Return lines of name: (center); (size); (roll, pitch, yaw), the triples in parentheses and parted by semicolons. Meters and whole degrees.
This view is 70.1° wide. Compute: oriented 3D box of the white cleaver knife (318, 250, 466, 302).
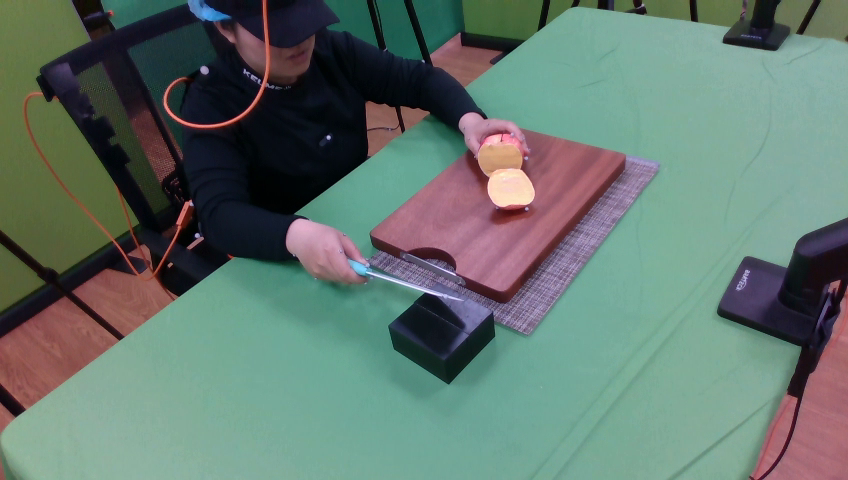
white cleaver knife: (-0.057, 0.055, 0.866); (0.284, 0.066, 0.021); (15, 85, 45)

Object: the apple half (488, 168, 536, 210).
apple half: (0.142, -0.080, 0.995); (0.081, 0.033, 0.081); (1, 63, -1)

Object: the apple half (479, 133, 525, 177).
apple half: (0.139, -0.151, 1.055); (0.080, 0.075, 0.053); (1, 36, 18)
